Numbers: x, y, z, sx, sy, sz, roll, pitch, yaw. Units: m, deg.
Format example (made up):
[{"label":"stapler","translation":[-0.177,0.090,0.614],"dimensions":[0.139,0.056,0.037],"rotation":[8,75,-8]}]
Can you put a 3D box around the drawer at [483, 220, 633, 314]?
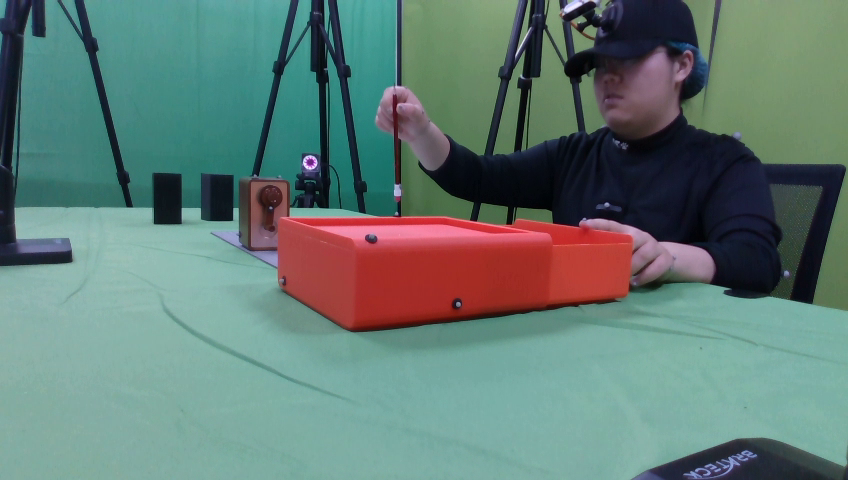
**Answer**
[{"label":"drawer","translation":[0.085,0.022,0.674],"dimensions":[0.213,0.073,0.193],"rotation":[-3,9,-32]}]

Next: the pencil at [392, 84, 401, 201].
[{"label":"pencil","translation":[-0.046,-0.157,0.996],"dimensions":[0.012,0.194,0.012],"rotation":[-1,19,1]}]

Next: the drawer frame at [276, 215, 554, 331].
[{"label":"drawer frame","translation":[-0.015,0.022,0.610],"dimensions":[0.215,0.082,0.200],"rotation":[-2,9,-32]}]

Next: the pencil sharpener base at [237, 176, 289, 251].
[{"label":"pencil sharpener base","translation":[-0.243,-0.040,0.911],"dimensions":[0.061,0.107,0.076],"rotation":[-1,8,-28]}]

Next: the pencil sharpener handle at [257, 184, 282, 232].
[{"label":"pencil sharpener handle","translation":[-0.219,-0.046,0.865],"dimensions":[0.036,0.067,0.030],"rotation":[5,5,-29]}]
